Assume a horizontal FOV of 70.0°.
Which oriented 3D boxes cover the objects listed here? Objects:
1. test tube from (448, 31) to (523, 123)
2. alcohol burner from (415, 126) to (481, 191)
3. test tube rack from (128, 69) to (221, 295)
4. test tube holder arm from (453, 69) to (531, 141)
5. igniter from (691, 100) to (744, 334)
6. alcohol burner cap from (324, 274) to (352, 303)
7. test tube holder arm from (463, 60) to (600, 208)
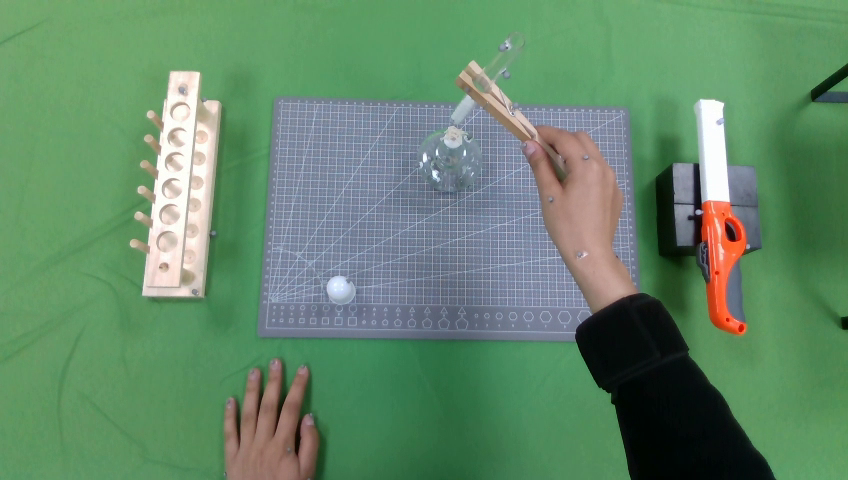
[{"bbox_3d":[0.051,-0.141,0.547,0.017,0.150,0.017,4,75,-16],"label":"test tube"},{"bbox_3d":[0.028,-0.100,0.694,0.078,0.119,0.077,0,78,-1],"label":"alcohol burner"},{"bbox_3d":[-0.286,-0.064,0.688,0.067,0.085,0.241,1,77,-2],"label":"test tube rack"},{"bbox_3d":[0.064,-0.122,0.554,0.088,0.015,0.010,38,72,-9],"label":"test tube holder arm"},{"bbox_3d":[0.333,-0.031,0.693,0.057,0.025,0.275,4,75,-4],"label":"igniter"},{"bbox_3d":[-0.100,0.053,0.691,0.034,0.048,0.033,1,78,-5],"label":"alcohol burner cap"},{"bbox_3d":[0.100,-0.096,0.562,0.179,0.015,0.013,44,72,-7],"label":"test tube holder arm"}]
